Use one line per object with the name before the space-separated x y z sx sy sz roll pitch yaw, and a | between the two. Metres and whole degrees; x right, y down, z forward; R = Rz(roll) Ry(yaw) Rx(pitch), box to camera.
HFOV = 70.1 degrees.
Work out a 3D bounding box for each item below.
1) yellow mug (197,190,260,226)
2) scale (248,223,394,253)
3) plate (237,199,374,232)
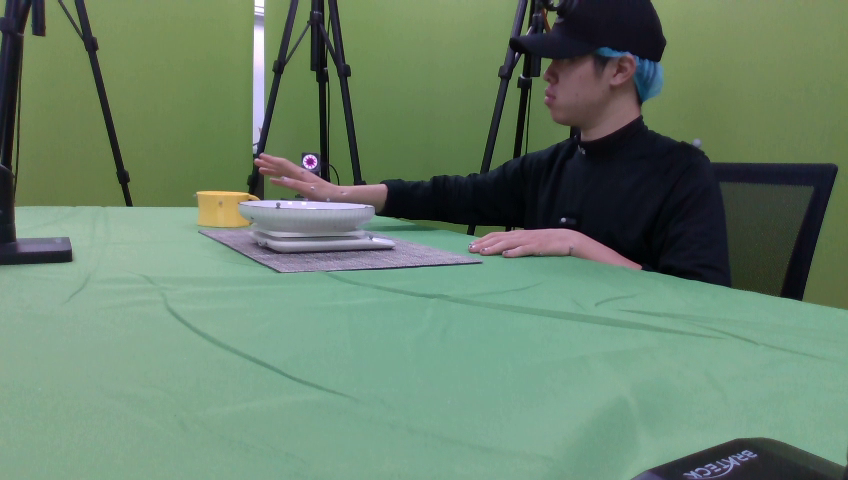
yellow mug | -0.389 -0.065 1.223 0.131 0.064 0.099 -1 8 -34
scale | -0.162 -0.006 0.954 0.202 0.031 0.148 -2 9 -32
plate | -0.183 -0.039 0.941 0.209 0.038 0.209 3 7 0
